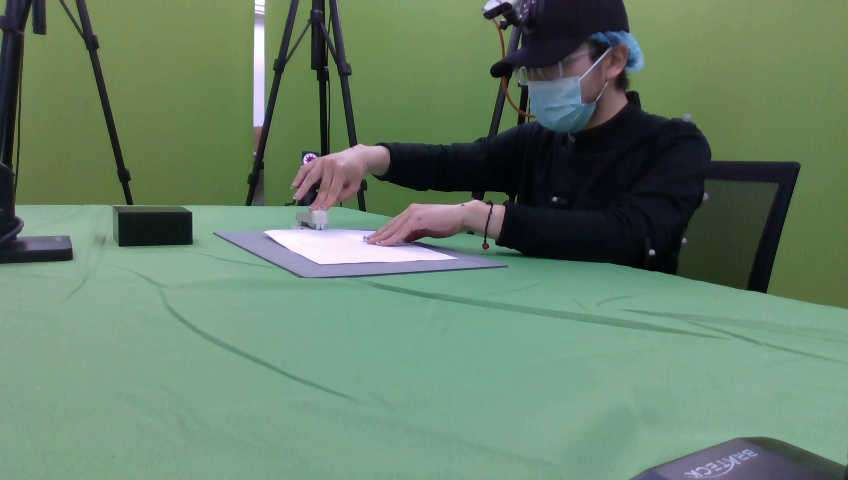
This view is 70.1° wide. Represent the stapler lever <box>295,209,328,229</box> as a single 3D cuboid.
[{"bbox_3d":[-0.207,-0.044,1.109,0.027,0.040,0.117,1,12,-29],"label":"stapler lever"}]

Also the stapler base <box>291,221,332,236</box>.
[{"bbox_3d":[-0.207,-0.025,1.111,0.041,0.024,0.130,1,5,-29],"label":"stapler base"}]
